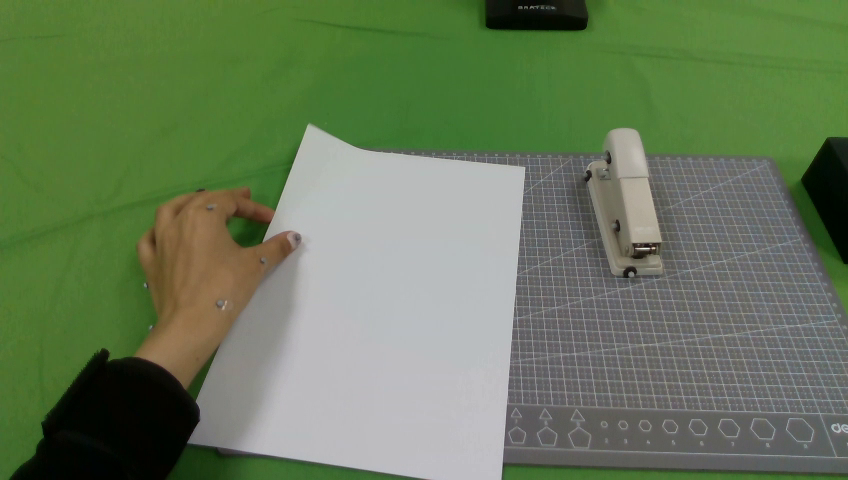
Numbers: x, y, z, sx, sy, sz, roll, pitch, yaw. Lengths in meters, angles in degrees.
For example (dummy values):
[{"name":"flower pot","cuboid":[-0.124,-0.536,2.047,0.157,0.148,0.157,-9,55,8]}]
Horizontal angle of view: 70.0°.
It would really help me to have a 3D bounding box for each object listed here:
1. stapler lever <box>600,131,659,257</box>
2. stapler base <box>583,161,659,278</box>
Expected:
[{"name":"stapler lever","cuboid":[0.167,-0.041,0.495,0.027,0.040,0.117,-2,52,1]},{"name":"stapler base","cuboid":[0.167,-0.026,0.516,0.041,0.024,0.129,-2,52,1]}]
